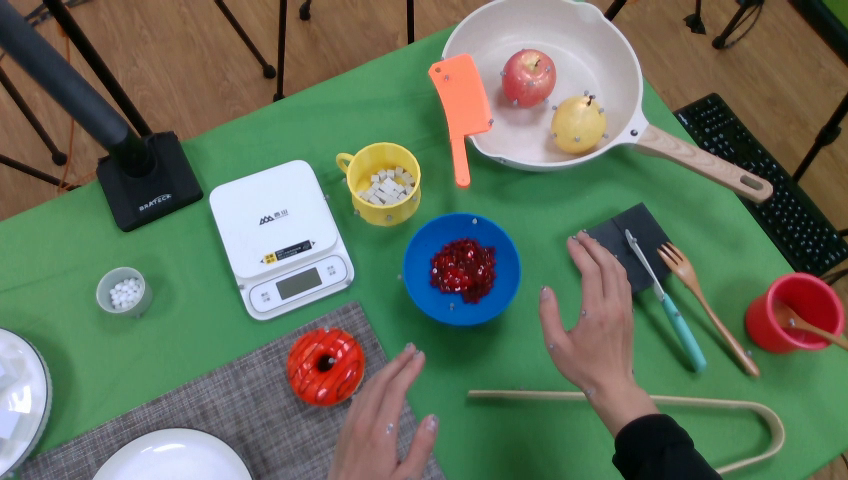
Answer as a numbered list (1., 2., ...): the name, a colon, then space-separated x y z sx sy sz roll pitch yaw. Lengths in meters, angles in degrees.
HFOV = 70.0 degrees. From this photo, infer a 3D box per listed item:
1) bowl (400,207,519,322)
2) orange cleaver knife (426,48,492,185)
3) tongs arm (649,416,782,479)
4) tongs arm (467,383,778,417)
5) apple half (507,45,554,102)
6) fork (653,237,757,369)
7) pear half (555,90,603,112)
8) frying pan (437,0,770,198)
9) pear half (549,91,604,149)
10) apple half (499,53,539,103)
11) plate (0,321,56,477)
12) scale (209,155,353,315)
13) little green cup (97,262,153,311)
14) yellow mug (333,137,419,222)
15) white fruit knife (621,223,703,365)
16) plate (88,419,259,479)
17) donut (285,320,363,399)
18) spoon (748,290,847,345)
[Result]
1. bowl: 0.044 0.040 0.791 0.151 0.077 0.150 1 70 -1
2. orange cleaver knife: 0.054 -0.175 0.837 0.077 0.012 0.210 -9 71 -4
3. tongs arm: 0.256 0.277 0.733 0.385 0.027 0.050 -10 68 -6
4. tongs arm: 0.247 0.197 0.762 0.388 0.028 0.028 4 64 -1
5. apple half: 0.162 -0.250 0.897 0.053 0.075 0.080 -35 70 -17
6. fork: 0.369 0.083 0.791 0.028 0.018 0.207 -35 90 -14
7. pear half: 0.223 -0.196 0.870 0.070 0.088 0.031 8 71 4
8. frying pan: 0.248 -0.181 0.863 0.485 0.103 0.306 32 73 18
9. pear half: 0.215 -0.167 0.850 0.076 0.110 0.055 8 70 6
10. apple half: 0.131 -0.228 0.887 0.033 0.082 0.081 -34 74 -17
11. plate: -0.553 0.201 0.739 0.208 0.039 0.206 1 70 -1
12. scale: -0.197 -0.011 0.828 0.149 0.032 0.199 -22 72 -9
13. little green cup: -0.388 0.064 0.793 0.061 0.039 0.061 0 70 -1
14. yellow mug: -0.071 -0.091 0.842 0.130 0.064 0.099 28 72 10
15. white fruit knife: 0.307 0.070 0.786 0.016 0.027 0.207 -28 88 -10
16. plate: -0.289 0.315 0.699 0.209 0.038 0.207 1 70 -1
17. donut: -0.126 0.150 0.761 0.099 0.048 0.098 0 71 0
18. spoon: 0.487 0.109 0.742 0.041 0.022 0.192 -31 29 -12
